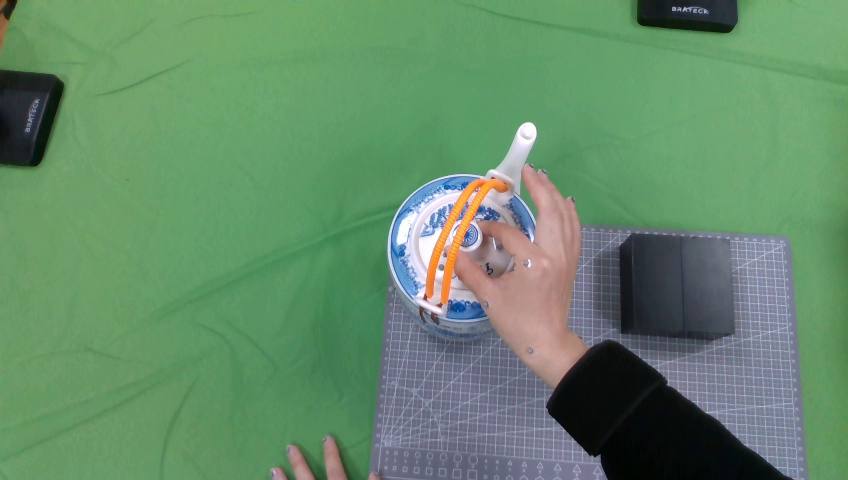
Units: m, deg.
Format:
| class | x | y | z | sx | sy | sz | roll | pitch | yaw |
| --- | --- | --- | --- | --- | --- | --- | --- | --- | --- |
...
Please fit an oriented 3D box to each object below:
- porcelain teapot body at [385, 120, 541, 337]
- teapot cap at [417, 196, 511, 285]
| class | x | y | z | sx | sy | sz | roll | pitch | yaw |
| --- | --- | --- | --- | --- | --- | --- | --- | --- | --- |
| porcelain teapot body | 0.049 | -0.016 | 0.583 | 0.145 | 0.226 | 0.205 | 26 | 77 | 9 |
| teapot cap | 0.035 | -0.002 | 0.538 | 0.085 | 0.044 | 0.084 | -1 | 71 | 4 |
